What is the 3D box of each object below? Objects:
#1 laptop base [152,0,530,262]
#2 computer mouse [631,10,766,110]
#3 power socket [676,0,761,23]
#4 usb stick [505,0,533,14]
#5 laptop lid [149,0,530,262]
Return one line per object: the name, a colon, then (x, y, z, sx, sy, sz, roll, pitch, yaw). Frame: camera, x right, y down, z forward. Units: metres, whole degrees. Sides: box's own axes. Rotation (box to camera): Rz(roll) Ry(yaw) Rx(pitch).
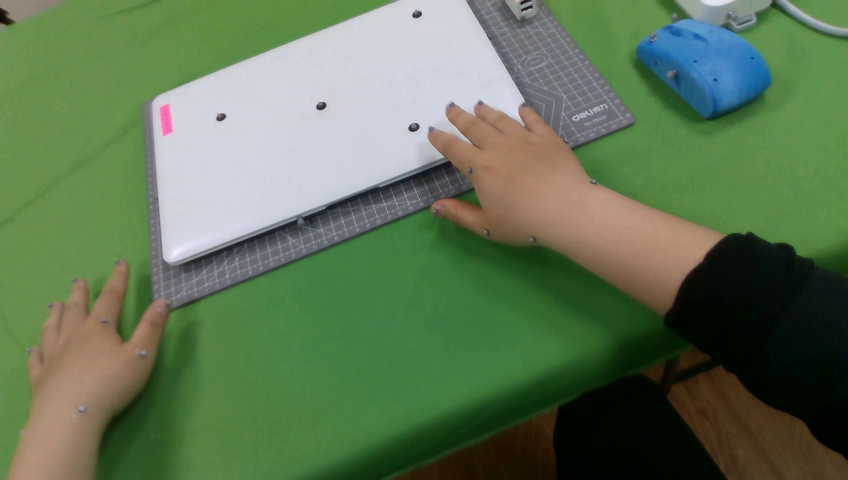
laptop base: (-0.099, -0.129, 0.604, 0.354, 0.023, 0.233, -22, 58, 0)
computer mouse: (0.234, -0.164, 0.525, 0.063, 0.041, 0.116, -27, 50, -1)
power socket: (0.258, -0.297, 0.609, 0.072, 0.033, 0.224, -21, 55, 2)
usb stick: (0.092, -0.265, 0.634, 0.021, 0.027, 0.058, -24, 52, 3)
laptop lid: (-0.101, -0.133, 0.593, 0.357, 0.013, 0.239, -21, 57, 1)
